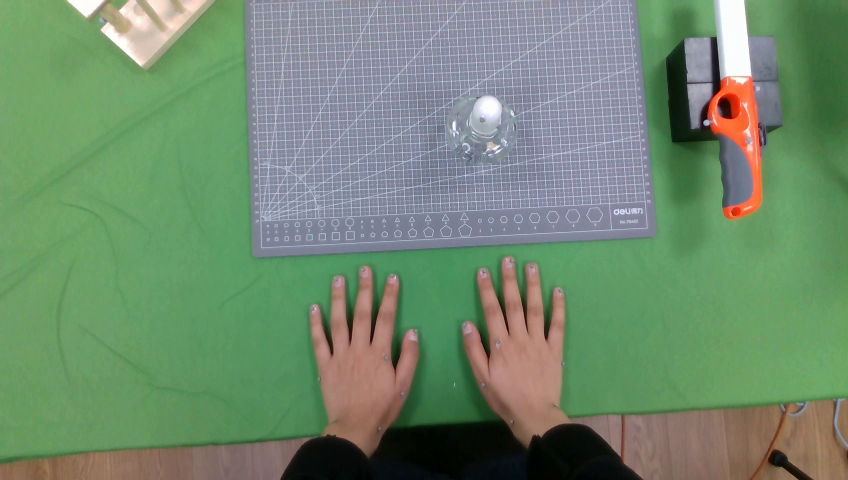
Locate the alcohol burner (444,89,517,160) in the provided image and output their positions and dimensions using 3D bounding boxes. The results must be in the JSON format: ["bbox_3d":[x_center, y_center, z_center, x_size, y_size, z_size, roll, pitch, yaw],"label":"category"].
[{"bbox_3d":[0.061,-0.125,0.629,0.078,0.119,0.077,0,83,-2],"label":"alcohol burner"}]

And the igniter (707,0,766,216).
[{"bbox_3d":[0.325,-0.161,0.636,0.057,0.025,0.275,0,83,1],"label":"igniter"}]

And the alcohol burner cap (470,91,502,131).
[{"bbox_3d":[0.062,-0.128,0.593,0.034,0.048,0.034,0,86,3],"label":"alcohol burner cap"}]

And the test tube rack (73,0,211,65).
[{"bbox_3d":[-0.258,-0.312,0.656,0.066,0.085,0.242,42,85,4],"label":"test tube rack"}]
